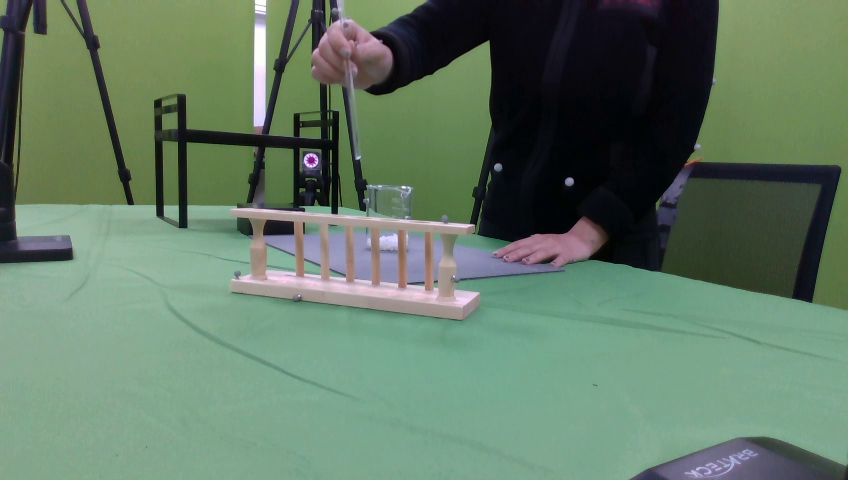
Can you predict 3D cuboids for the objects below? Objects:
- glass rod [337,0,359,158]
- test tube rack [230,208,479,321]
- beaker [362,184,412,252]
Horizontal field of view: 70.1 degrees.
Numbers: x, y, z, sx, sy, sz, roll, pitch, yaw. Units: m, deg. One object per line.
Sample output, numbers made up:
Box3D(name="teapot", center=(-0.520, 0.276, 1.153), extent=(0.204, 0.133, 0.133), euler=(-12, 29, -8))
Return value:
Box3D(name="glass rod", center=(-0.087, -0.188, 0.674), extent=(0.008, 0.199, 0.008), euler=(-7, -7, 0))
Box3D(name="test tube rack", center=(-0.069, 0.017, 0.598), extent=(0.242, 0.085, 0.067), euler=(5, 8, 18))
Box3D(name="beaker", center=(-0.055, -0.034, 0.935), extent=(0.083, 0.100, 0.074), euler=(10, 11, 44))
